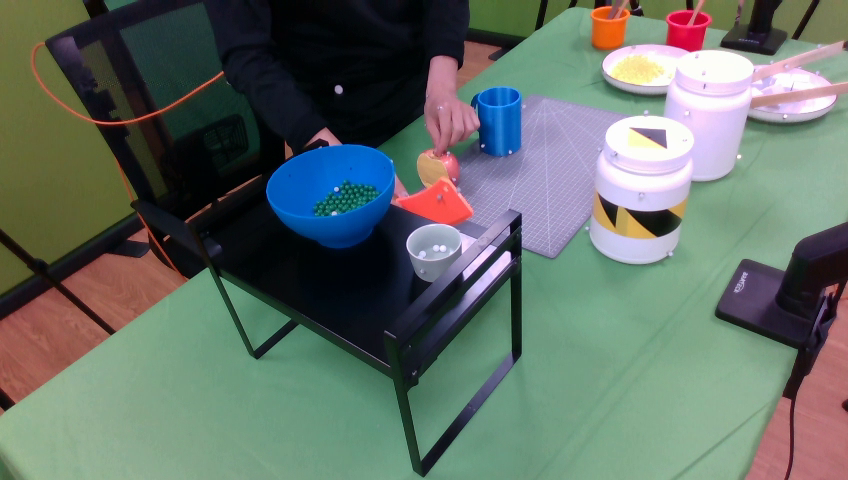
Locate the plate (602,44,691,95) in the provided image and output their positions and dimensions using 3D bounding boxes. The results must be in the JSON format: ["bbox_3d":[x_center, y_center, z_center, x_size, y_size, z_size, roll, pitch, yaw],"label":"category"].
[{"bbox_3d":[0.495,-0.367,1.317,0.209,0.038,0.208,-4,40,4],"label":"plate"}]

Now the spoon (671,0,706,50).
[{"bbox_3d":[0.629,-0.520,1.394,0.041,0.022,0.193,30,97,34],"label":"spoon"}]

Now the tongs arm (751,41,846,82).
[{"bbox_3d":[0.708,-0.331,1.194,0.386,0.026,0.050,-18,45,-16],"label":"tongs arm"}]

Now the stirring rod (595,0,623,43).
[{"bbox_3d":[0.460,-0.556,1.459,0.014,0.006,0.176,30,93,23],"label":"stirring rod"}]

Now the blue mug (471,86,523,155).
[{"bbox_3d":[0.135,-0.235,1.163,0.082,0.106,0.115,-36,48,-28],"label":"blue mug"}]

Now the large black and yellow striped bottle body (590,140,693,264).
[{"bbox_3d":[0.317,-0.071,0.889,0.131,0.185,0.130,-4,41,4],"label":"large black and yellow striped bottle body"}]

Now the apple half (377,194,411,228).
[{"bbox_3d":[-0.048,-0.045,1.029,0.081,0.033,0.081,-15,36,12],"label":"apple half"}]

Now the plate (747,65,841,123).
[{"bbox_3d":[0.694,-0.283,1.189,0.207,0.039,0.206,-4,40,4],"label":"plate"}]

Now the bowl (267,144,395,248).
[{"bbox_3d":[-0.104,-0.043,0.726,0.151,0.077,0.150,-4,40,4],"label":"bowl"}]

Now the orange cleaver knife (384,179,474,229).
[{"bbox_3d":[-0.008,-0.043,0.913,0.210,0.077,0.012,-9,26,49],"label":"orange cleaver knife"}]

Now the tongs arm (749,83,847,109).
[{"bbox_3d":[0.734,-0.280,1.134,0.388,0.028,0.028,-9,47,-5],"label":"tongs arm"}]

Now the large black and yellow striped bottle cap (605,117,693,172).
[{"bbox_3d":[0.309,-0.134,0.833,0.115,0.019,0.114,-5,40,5],"label":"large black and yellow striped bottle cap"}]

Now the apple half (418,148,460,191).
[{"bbox_3d":[0.034,-0.129,1.081,0.080,0.075,0.053,25,45,37],"label":"apple half"}]

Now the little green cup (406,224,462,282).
[{"bbox_3d":[0.012,0.015,0.668,0.061,0.039,0.061,-4,40,4],"label":"little green cup"}]

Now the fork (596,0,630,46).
[{"bbox_3d":[0.481,-0.556,1.452,0.028,0.019,0.207,40,103,41],"label":"fork"}]

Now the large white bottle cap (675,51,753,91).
[{"bbox_3d":[0.463,-0.271,0.967,0.115,0.018,0.114,-4,40,3],"label":"large white bottle cap"}]

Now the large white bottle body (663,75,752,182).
[{"bbox_3d":[0.472,-0.207,1.022,0.130,0.185,0.130,-4,41,4],"label":"large white bottle body"}]
